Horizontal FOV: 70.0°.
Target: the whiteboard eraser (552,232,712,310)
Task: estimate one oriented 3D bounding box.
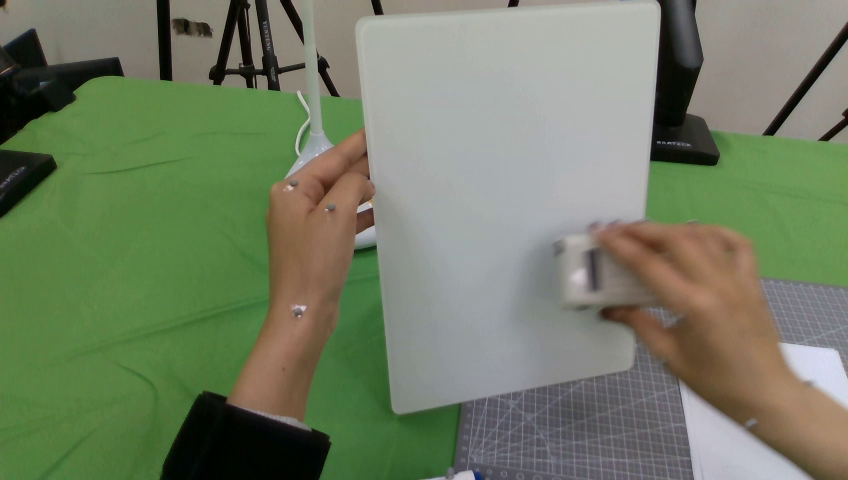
[{"bbox_3d":[0.152,0.023,0.447,0.113,0.055,0.042,-1,-2,-6],"label":"whiteboard eraser"}]

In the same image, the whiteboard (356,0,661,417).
[{"bbox_3d":[0.057,-0.037,0.516,0.218,0.307,0.142,-8,22,-10],"label":"whiteboard"}]

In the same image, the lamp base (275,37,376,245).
[{"bbox_3d":[-0.095,-0.113,0.652,0.161,0.182,0.177,-27,46,-30],"label":"lamp base"}]

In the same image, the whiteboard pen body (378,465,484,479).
[{"bbox_3d":[-0.026,0.178,0.431,0.141,0.017,0.017,-5,40,-10],"label":"whiteboard pen body"}]
